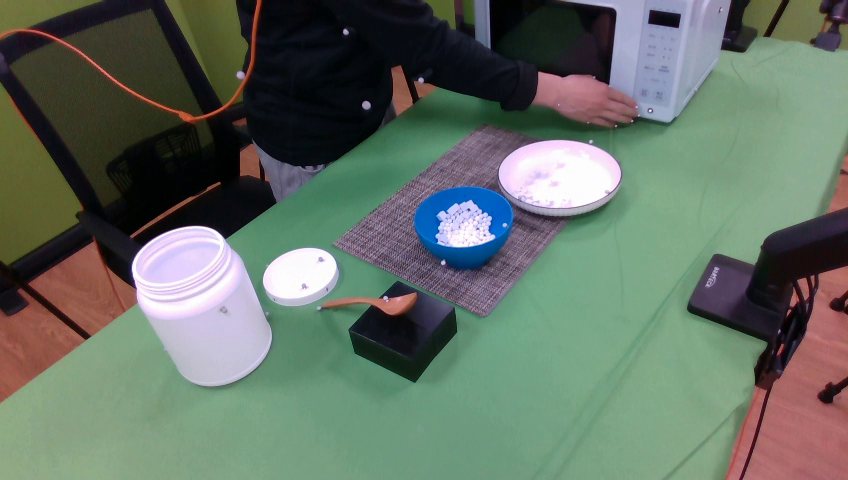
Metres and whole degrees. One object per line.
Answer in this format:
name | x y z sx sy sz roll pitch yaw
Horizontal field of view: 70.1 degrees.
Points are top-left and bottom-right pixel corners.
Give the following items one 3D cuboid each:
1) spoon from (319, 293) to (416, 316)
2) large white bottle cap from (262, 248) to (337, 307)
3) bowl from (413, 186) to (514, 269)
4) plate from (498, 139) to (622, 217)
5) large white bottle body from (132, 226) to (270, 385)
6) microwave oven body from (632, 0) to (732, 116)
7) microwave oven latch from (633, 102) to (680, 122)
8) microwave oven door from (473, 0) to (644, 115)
spoon | -0.082 0.086 0.826 0.192 0.022 0.041 -3 37 41
large white bottle cap | -0.193 0.056 0.934 0.115 0.018 0.114 -5 41 4
bowl | 0.062 -0.009 0.920 0.151 0.077 0.150 -4 40 4
plate | 0.231 -0.103 1.038 0.209 0.038 0.208 -4 41 4
large white bottle body | -0.286 0.085 0.784 0.130 0.185 0.130 -4 41 4
microwave oven body | 0.377 -0.463 1.267 0.438 0.261 0.327 21 49 30
microwave oven latch | 0.443 -0.249 1.157 0.078 0.029 0.030 21 49 30
microwave oven door | 0.257 -0.396 1.199 0.353 0.245 0.039 21 48 29
